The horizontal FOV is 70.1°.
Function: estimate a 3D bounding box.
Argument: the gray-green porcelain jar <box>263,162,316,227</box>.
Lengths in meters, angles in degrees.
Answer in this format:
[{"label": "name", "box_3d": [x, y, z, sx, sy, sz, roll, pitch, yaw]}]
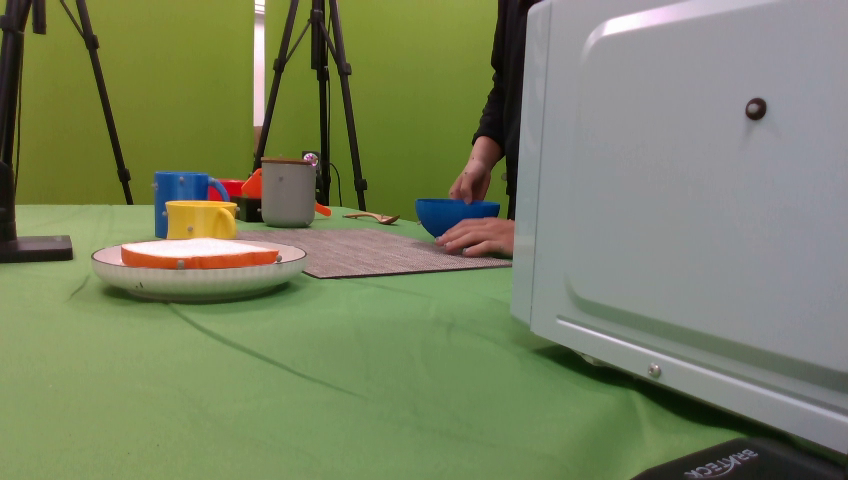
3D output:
[{"label": "gray-green porcelain jar", "box_3d": [-0.271, -0.092, 1.217, 0.106, 0.126, 0.106, 2, 7, 0]}]

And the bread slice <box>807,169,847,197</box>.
[{"label": "bread slice", "box_3d": [0.365, -0.051, 0.453, 0.135, 0.018, 0.106, -9, 1, -23]}]

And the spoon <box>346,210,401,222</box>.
[{"label": "spoon", "box_3d": [-0.120, -0.060, 1.400, 0.042, 0.021, 0.192, -28, 25, -37]}]

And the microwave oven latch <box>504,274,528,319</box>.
[{"label": "microwave oven latch", "box_3d": [0.100, 0.041, 0.470, 0.079, 0.029, 0.030, -1, 7, -27]}]

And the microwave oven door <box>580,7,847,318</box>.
[{"label": "microwave oven door", "box_3d": [0.295, -0.067, 0.570, 0.358, 0.243, 0.039, -3, 9, -31]}]

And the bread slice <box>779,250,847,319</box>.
[{"label": "bread slice", "box_3d": [0.370, 0.025, 0.477, 0.132, 0.019, 0.104, -24, 10, -8]}]

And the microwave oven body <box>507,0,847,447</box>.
[{"label": "microwave oven body", "box_3d": [0.331, -0.042, 0.425, 0.444, 0.260, 0.324, -2, 8, -31]}]

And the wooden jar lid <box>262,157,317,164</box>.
[{"label": "wooden jar lid", "box_3d": [-0.269, -0.154, 1.208, 0.108, 0.020, 0.108, 3, 4, 0]}]

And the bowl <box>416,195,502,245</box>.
[{"label": "bowl", "box_3d": [0.059, -0.035, 1.049, 0.151, 0.077, 0.151, 2, 7, 0]}]

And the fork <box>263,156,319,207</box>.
[{"label": "fork", "box_3d": [-0.331, -0.144, 1.505, 0.207, 0.018, 0.028, -42, -21, 22]}]

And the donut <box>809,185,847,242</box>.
[{"label": "donut", "box_3d": [0.351, -0.024, 0.463, 0.099, 0.048, 0.099, -10, 4, 1]}]

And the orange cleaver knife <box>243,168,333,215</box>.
[{"label": "orange cleaver knife", "box_3d": [-0.300, -0.089, 1.351, 0.212, 0.077, 0.012, 28, -9, -34]}]

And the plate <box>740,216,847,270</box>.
[{"label": "plate", "box_3d": [0.358, 0.002, 0.464, 0.209, 0.038, 0.209, 1, 4, 0]}]

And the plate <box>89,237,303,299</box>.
[{"label": "plate", "box_3d": [-0.233, 0.029, 0.636, 0.208, 0.039, 0.207, 2, 7, 0]}]

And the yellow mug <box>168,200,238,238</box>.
[{"label": "yellow mug", "box_3d": [-0.319, -0.023, 0.904, 0.130, 0.064, 0.100, 8, 11, 36]}]

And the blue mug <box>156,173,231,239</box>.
[{"label": "blue mug", "box_3d": [-0.381, -0.057, 1.004, 0.117, 0.106, 0.082, 0, 8, -12]}]
